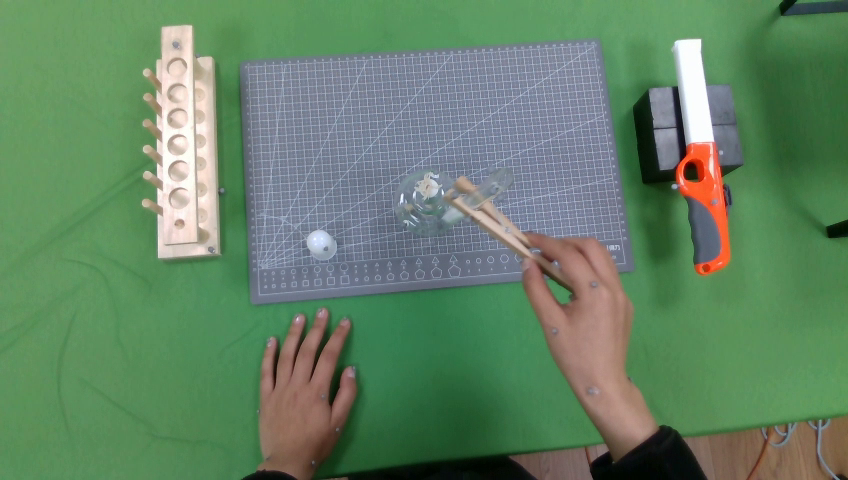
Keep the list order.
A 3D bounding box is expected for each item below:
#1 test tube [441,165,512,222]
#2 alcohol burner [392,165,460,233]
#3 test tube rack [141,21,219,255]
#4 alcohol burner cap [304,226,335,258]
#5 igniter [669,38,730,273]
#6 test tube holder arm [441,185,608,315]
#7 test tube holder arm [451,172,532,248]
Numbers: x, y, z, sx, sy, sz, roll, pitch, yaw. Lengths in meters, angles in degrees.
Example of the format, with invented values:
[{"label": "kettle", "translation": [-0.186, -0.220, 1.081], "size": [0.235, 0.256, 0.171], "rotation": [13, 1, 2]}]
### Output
[{"label": "test tube", "translation": [0.039, -0.035, 0.504], "size": [0.017, 0.150, 0.017], "rotation": [2, 80, -13]}, {"label": "alcohol burner", "translation": [0.003, -0.049, 0.665], "size": [0.078, 0.119, 0.077], "rotation": [0, 81, -1]}, {"label": "test tube rack", "translation": [-0.278, -0.111, 0.679], "size": [0.067, 0.085, 0.241], "rotation": [-4, 80, -3]}, {"label": "alcohol burner cap", "translation": [-0.120, 0.000, 0.687], "size": [0.034, 0.048, 0.033], "rotation": [0, 79, -2]}, {"label": "igniter", "translation": [0.311, -0.100, 0.689], "size": [0.057, 0.025, 0.275], "rotation": [-2, 79, 3]}, {"label": "test tube holder arm", "translation": [0.088, 0.011, 0.519], "size": [0.179, 0.015, 0.013], "rotation": [38, 76, -9]}, {"label": "test tube holder arm", "translation": [0.058, -0.023, 0.514], "size": [0.088, 0.015, 0.010], "rotation": [45, 75, -7]}]
